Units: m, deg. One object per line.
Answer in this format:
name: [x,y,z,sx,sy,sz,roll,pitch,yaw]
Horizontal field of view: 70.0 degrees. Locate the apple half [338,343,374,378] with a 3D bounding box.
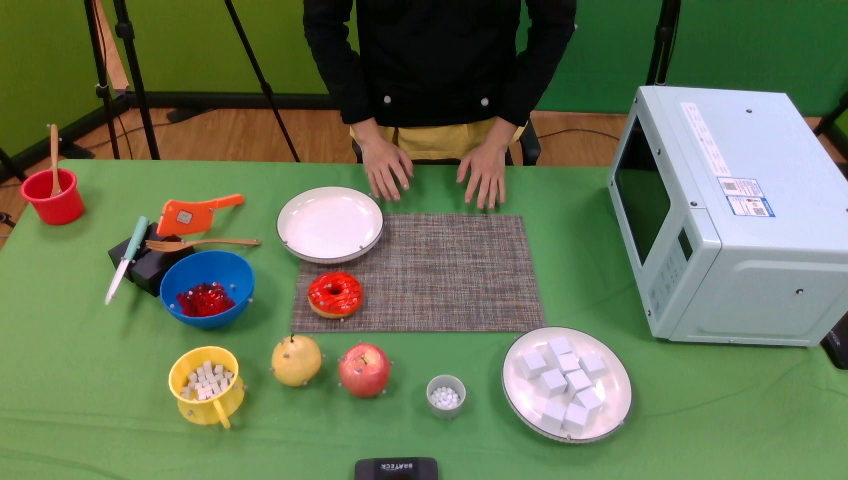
apple half: [-0.112,0.192,0.968,0.081,0.081,0.032,-32,59,-29]

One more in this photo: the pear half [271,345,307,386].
pear half: [-0.216,0.200,0.943,0.070,0.088,0.031,27,49,14]

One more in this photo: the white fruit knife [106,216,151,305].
white fruit knife: [-0.519,0.032,1.066,0.027,0.016,0.206,-18,45,19]

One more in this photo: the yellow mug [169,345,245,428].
yellow mug: [-0.322,0.230,0.922,0.100,0.064,0.130,-24,53,-25]

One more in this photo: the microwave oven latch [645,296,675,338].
microwave oven latch: [0.412,0.134,1.061,0.030,0.029,0.078,4,45,0]

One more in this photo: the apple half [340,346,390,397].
apple half: [-0.085,0.214,0.950,0.081,0.075,0.053,-29,58,-32]

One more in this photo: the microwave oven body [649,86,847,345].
microwave oven body: [0.567,-0.053,1.118,0.326,0.261,0.439,2,45,-1]

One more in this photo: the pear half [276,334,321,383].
pear half: [-0.196,0.172,0.957,0.076,0.110,0.056,27,51,16]

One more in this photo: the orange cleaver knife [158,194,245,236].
orange cleaver knife: [-0.427,-0.050,1.175,0.012,0.077,0.211,22,19,21]

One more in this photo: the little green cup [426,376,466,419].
little green cup: [0.033,0.248,0.950,0.061,0.039,0.061,2,46,-2]

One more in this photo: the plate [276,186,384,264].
plate: [-0.184,-0.027,1.195,0.209,0.038,0.208,2,46,-2]

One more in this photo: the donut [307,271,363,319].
donut: [-0.157,0.097,1.073,0.099,0.048,0.098,4,45,-3]

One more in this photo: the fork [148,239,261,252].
fork: [-0.399,0.007,1.118,0.208,0.019,0.028,-4,36,-36]

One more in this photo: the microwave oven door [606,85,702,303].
microwave oven door: [0.422,-0.094,1.140,0.039,0.245,0.353,2,46,-1]

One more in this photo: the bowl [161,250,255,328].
bowl: [-0.362,0.097,1.040,0.151,0.077,0.150,2,45,-2]

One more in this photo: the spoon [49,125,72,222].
spoon: [-0.717,-0.132,1.189,0.041,0.021,0.193,-3,90,-6]

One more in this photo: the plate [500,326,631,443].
plate: [0.224,0.233,0.978,0.208,0.039,0.206,2,46,-2]
